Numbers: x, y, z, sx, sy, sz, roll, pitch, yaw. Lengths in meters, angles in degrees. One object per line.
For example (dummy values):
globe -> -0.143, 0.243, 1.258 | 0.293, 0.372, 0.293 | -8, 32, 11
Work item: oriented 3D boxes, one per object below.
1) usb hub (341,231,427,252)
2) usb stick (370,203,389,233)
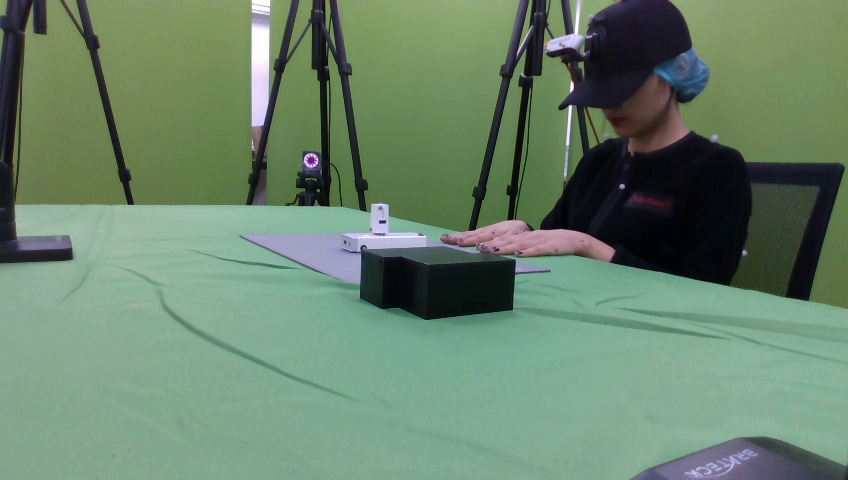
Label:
usb hub -> -0.061, 0.002, 0.930 | 0.126, 0.025, 0.049 | -2, 9, -28
usb stick -> -0.068, -0.027, 0.926 | 0.021, 0.059, 0.027 | -2, 11, -30
